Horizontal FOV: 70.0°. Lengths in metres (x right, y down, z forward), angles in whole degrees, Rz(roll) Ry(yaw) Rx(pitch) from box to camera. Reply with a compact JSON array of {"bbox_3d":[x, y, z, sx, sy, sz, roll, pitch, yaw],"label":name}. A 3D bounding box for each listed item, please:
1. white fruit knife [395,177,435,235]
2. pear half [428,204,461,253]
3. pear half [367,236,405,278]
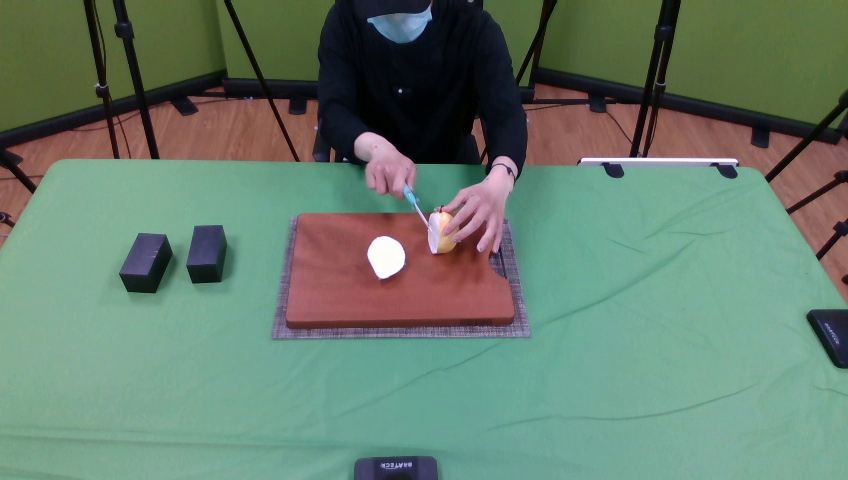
[{"bbox_3d":[-0.017,-0.067,1.132,0.016,0.027,0.206,-26,40,-6],"label":"white fruit knife"},{"bbox_3d":[0.041,-0.027,1.123,0.056,0.110,0.076,-12,52,-16],"label":"pear half"},{"bbox_3d":[-0.072,0.036,1.106,0.070,0.031,0.087,18,59,-7],"label":"pear half"}]
